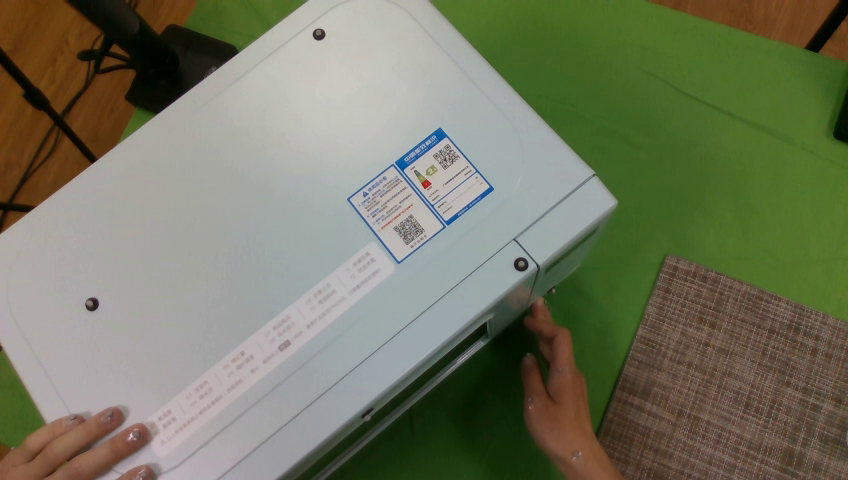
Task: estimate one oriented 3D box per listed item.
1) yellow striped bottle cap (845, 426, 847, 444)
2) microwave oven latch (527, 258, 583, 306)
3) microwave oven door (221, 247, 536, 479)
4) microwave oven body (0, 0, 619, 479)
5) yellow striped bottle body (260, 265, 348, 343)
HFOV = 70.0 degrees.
[{"bbox_3d":[0.449,0.199,0.604,0.044,0.019,0.044,-2,76,8],"label":"yellow striped bottle cap"},{"bbox_3d":[0.134,0.036,0.653,0.079,0.029,0.030,-38,76,-3],"label":"microwave oven latch"},{"bbox_3d":[-0.051,0.146,0.540,0.356,0.245,0.039,-39,74,-4],"label":"microwave oven door"},{"bbox_3d":[-0.107,0.013,0.585,0.441,0.261,0.324,-39,76,-3],"label":"microwave oven body"},{"bbox_3d":[-0.116,0.062,0.582,0.063,0.121,0.062,-1,74,5],"label":"yellow striped bottle body"}]
